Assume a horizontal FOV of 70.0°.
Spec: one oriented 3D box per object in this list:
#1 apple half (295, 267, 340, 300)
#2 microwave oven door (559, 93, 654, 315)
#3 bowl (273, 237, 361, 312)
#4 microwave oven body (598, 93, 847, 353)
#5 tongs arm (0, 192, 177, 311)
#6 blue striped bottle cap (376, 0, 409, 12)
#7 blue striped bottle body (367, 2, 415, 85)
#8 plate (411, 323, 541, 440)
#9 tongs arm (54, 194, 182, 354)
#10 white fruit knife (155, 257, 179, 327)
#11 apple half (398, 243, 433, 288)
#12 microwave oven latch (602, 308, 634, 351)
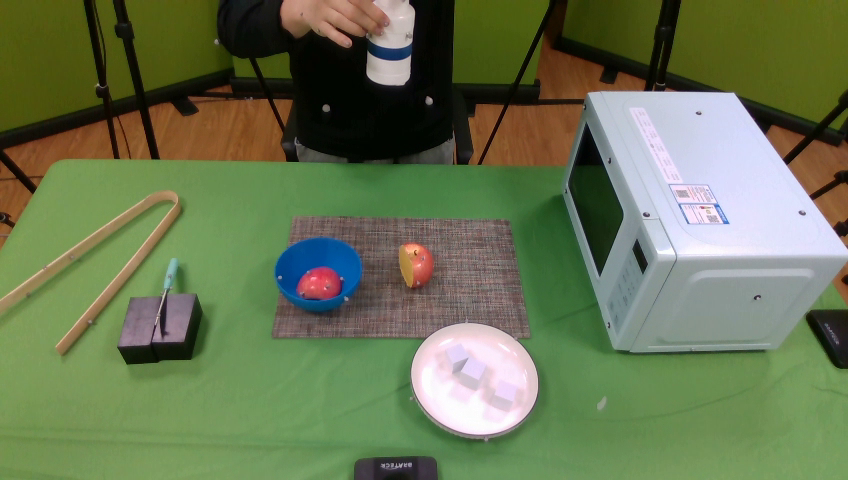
[{"bbox_3d":[-0.187,0.070,1.067,0.081,0.033,0.081,3,47,-3],"label":"apple half"},{"bbox_3d":[0.327,-0.074,1.123,0.039,0.245,0.353,-1,46,-5],"label":"microwave oven door"},{"bbox_3d":[-0.186,0.074,1.069,0.151,0.077,0.150,3,46,-3],"label":"bowl"},{"bbox_3d":[0.475,-0.041,1.109,0.326,0.261,0.438,-1,45,-4],"label":"microwave oven body"},{"bbox_3d":[-0.618,0.019,1.124,0.050,0.026,0.384,24,47,16],"label":"tongs arm"},{"bbox_3d":[-0.041,-0.320,0.799,0.044,0.021,0.044,3,42,-3],"label":"blue striped bottle cap"},{"bbox_3d":[-0.046,-0.281,0.833,0.063,0.121,0.062,4,41,-3],"label":"blue striped bottle body"},{"bbox_3d":[0.082,0.228,0.976,0.208,0.039,0.206,2,45,-2],"label":"plate"},{"bbox_3d":[-0.543,0.048,1.108,0.028,0.028,0.385,11,45,10],"label":"tongs arm"},{"bbox_3d":[-0.440,0.085,1.037,0.016,0.027,0.206,10,26,-19],"label":"white fruit knife"},{"bbox_3d":[-0.012,0.046,1.115,0.053,0.075,0.080,-11,44,-19],"label":"apple half"},{"bbox_3d":[0.332,0.153,1.044,0.030,0.029,0.078,-1,45,-4],"label":"microwave oven latch"}]
